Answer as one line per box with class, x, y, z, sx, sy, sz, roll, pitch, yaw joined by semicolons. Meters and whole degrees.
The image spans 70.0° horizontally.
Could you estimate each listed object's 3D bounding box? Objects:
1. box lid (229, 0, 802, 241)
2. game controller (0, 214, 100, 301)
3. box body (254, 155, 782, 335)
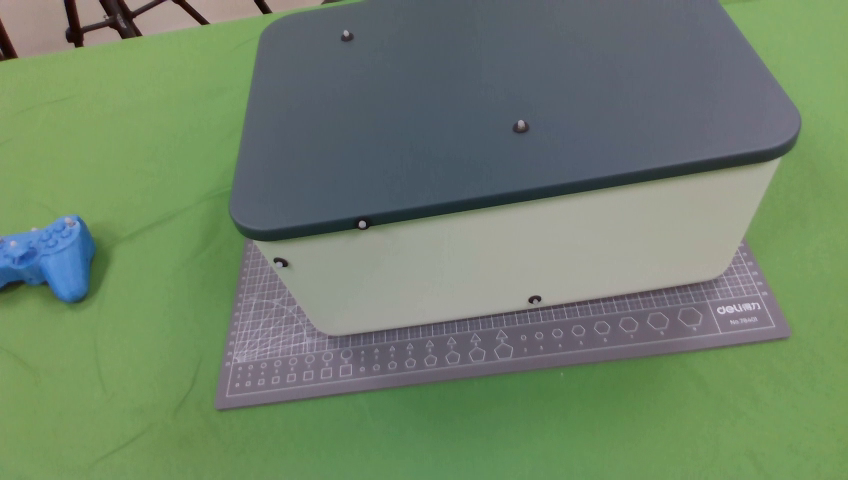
box lid;0.044;-0.124;0.454;0.371;0.015;0.260;-9;50;4
game controller;-0.402;0.021;0.600;0.155;0.052;0.096;-8;46;4
box body;0.058;-0.077;0.510;0.364;0.162;0.251;-9;50;4
